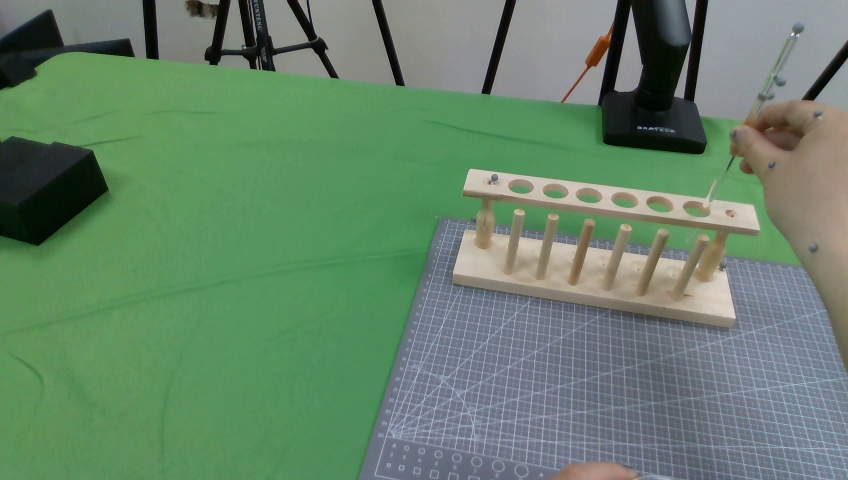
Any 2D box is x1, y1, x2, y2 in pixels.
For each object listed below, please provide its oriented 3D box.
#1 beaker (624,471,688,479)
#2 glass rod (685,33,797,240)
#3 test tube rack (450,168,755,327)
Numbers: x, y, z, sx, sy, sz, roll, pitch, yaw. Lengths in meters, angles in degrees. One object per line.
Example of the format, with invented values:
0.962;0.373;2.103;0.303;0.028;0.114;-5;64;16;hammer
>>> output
0.108;0.179;0.311;0.084;0.101;0.073;0;41;-8;beaker
0.232;-0.065;0.456;0.008;0.201;0.008;0;50;1;glass rod
0.149;0.005;0.533;0.242;0.086;0.066;9;42;8;test tube rack
